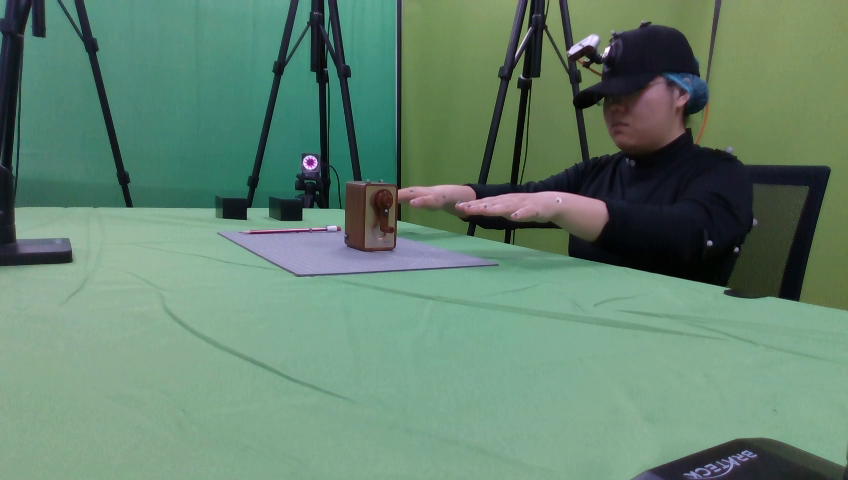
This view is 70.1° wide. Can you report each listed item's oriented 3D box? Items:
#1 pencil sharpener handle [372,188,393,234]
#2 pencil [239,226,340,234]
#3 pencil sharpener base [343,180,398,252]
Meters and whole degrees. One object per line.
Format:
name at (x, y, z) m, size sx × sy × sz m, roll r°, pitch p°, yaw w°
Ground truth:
pencil sharpener handle at (-0.057, -0.044, 0.912) m, size 0.036 × 0.067 × 0.030 m, roll -2°, pitch 9°, yaw -33°
pencil at (-0.245, -0.018, 1.119) m, size 0.195 × 0.012 × 0.012 m, roll -3°, pitch 9°, yaw -34°
pencil sharpener base at (-0.085, -0.038, 0.956) m, size 0.062 × 0.107 × 0.076 m, roll -1°, pitch 9°, yaw -33°
